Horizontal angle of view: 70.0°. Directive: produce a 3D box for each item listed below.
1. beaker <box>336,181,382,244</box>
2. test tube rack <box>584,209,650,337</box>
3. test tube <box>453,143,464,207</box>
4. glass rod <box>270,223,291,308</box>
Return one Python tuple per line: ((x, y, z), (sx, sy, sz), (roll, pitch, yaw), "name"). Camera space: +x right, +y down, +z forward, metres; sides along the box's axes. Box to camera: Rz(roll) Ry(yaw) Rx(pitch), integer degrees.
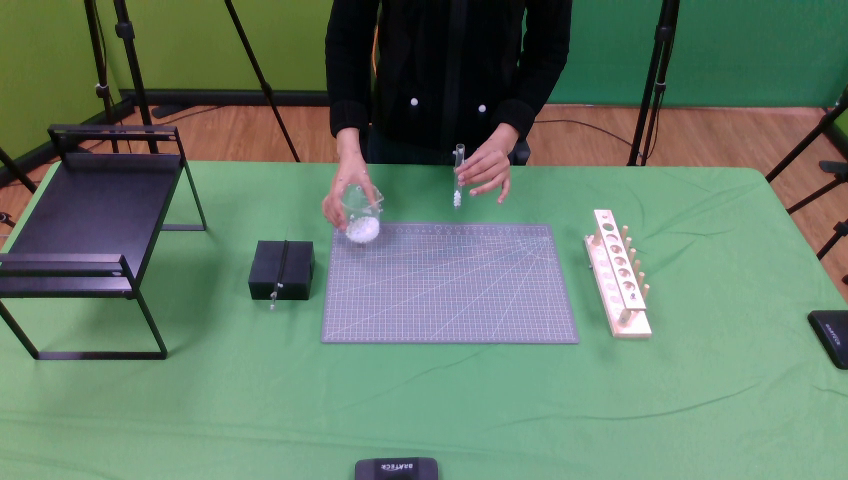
((-0.118, -0.049, 1.135), (0.084, 0.101, 0.073), (2, 48, 0), "beaker")
((0.365, 0.056, 1.129), (0.067, 0.085, 0.240), (1, 46, -3), "test tube rack")
((0.064, -0.119, 1.135), (0.017, 0.151, 0.017), (0, 48, 0), "test tube")
((-0.255, 0.041, 1.082), (0.008, 0.008, 0.198), (2, 46, -2), "glass rod")
